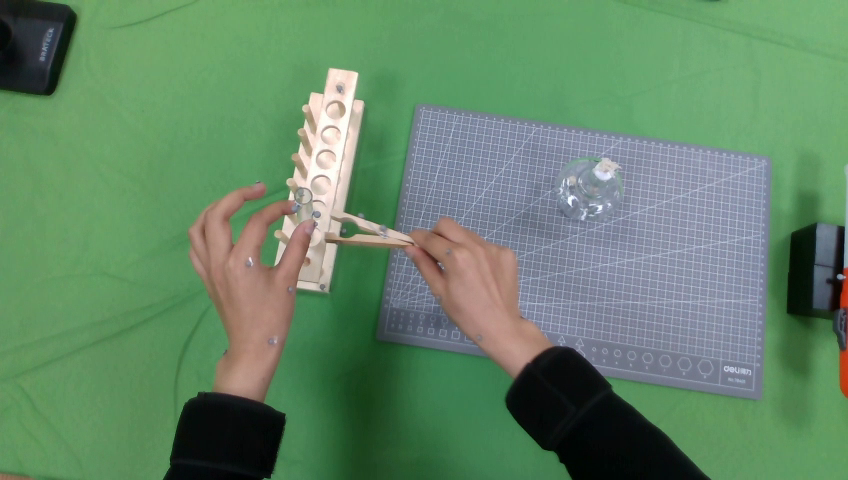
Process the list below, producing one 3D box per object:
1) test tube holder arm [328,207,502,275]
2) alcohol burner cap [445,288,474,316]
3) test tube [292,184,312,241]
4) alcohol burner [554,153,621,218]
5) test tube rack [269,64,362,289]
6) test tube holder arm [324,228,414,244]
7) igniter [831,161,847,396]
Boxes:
[{"bbox_3d":[-0.009,0.001,0.590,0.178,0.015,0.013,18,79,6],"label":"test tube holder arm"},{"bbox_3d":[0.042,0.068,0.690,0.034,0.048,0.033,1,79,-3],"label":"alcohol burner cap"},{"bbox_3d":[-0.114,-0.022,0.573,0.017,0.150,0.017,2,76,-9],"label":"test tube"},{"bbox_3d":[0.189,-0.067,0.685,0.078,0.119,0.077,0,78,1],"label":"alcohol burner"},{"bbox_3d":[-0.128,-0.072,0.694,0.067,0.085,0.241,9,78,0],"label":"test tube rack"},{"bbox_3d":[-0.054,-0.004,0.593,0.088,0.015,0.010,3,77,3],"label":"test tube holder arm"},{"bbox_3d":[0.481,0.042,0.670,0.057,0.025,0.275,11,75,-2],"label":"igniter"}]
